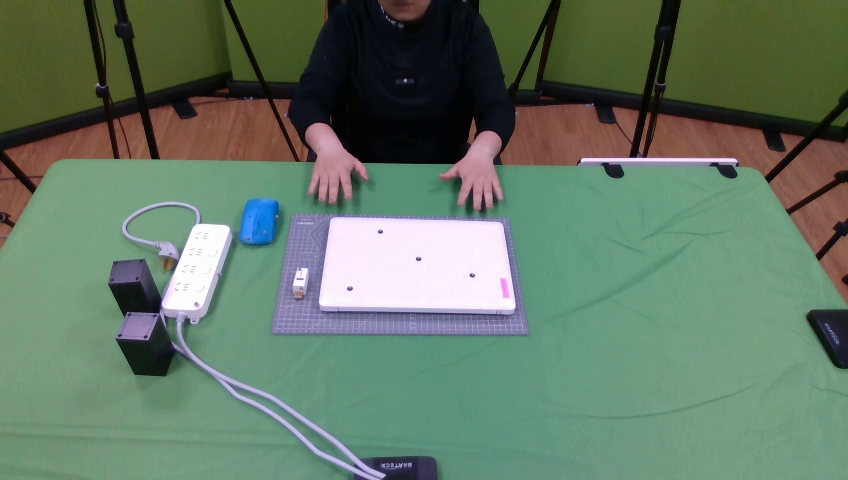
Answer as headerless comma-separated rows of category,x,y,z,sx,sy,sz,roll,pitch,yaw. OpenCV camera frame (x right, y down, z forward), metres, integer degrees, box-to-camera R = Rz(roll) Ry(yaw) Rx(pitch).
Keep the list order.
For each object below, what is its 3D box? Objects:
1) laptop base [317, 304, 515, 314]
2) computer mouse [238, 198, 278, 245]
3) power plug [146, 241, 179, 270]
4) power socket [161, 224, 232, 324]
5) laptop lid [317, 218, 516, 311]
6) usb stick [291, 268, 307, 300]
laptop base,-0.014,0.049,1.150,0.354,0.023,0.234,1,42,-3
computer mouse,-0.328,-0.039,1.200,0.063,0.041,0.116,3,50,-4
power plug,-0.489,0.030,1.130,0.072,0.035,0.052,0,64,26
power socket,-0.412,0.053,1.106,0.072,0.033,0.225,4,46,-1
laptop lid,-0.013,0.040,1.143,0.357,0.013,0.240,3,43,-2
usb stick,-0.227,0.081,1.093,0.021,0.027,0.059,5,47,-2
